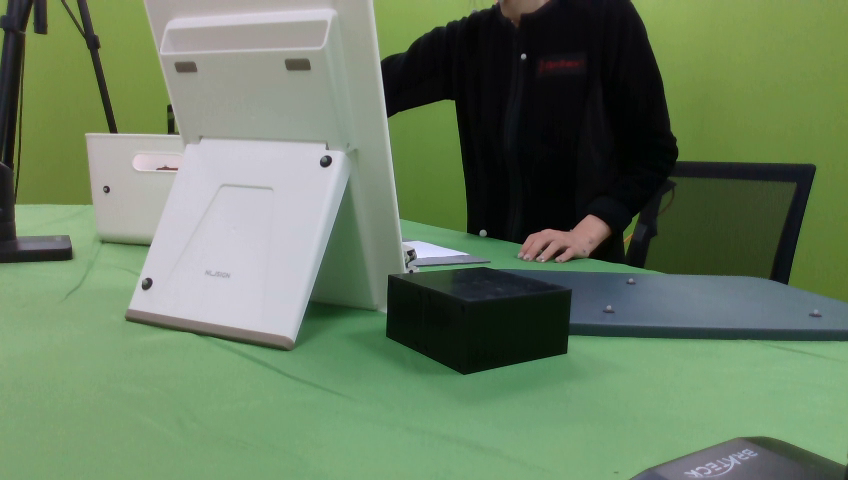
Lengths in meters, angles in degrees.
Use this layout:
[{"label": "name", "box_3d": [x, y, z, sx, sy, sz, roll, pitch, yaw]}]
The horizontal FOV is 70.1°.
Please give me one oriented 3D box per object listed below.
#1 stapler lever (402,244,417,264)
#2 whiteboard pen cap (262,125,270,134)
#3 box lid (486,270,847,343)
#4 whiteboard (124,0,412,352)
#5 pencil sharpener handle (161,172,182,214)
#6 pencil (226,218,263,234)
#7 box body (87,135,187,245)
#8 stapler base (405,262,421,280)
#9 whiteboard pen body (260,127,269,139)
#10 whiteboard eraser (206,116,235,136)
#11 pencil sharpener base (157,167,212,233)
[{"label": "stapler lever", "box_3d": [-0.066, 0.003, 0.755, 0.117, 0.040, 0.027, 9, 13, 23]}, {"label": "whiteboard pen cap", "box_3d": [-0.349, -0.244, 1.337, 0.018, 0.018, 0.033, 0, 2, -17]}, {"label": "box lid", "box_3d": [0.266, 0.066, 0.643, 0.372, 0.015, 0.263, 2, 7, -5]}, {"label": "whiteboard", "box_3d": [-0.151, -0.049, 0.472, 0.216, 0.305, 0.144, 6, 27, 24]}, {"label": "pencil sharpener handle", "box_3d": [-0.410, -0.075, 0.973, 0.036, 0.067, 0.031, -13, 5, 11]}, {"label": "pencil", "box_3d": [-0.323, -0.025, 1.091, 0.012, 0.012, 0.194, 3, 9, 1]}, {"label": "box body", "box_3d": [-0.338, -0.088, 1.022, 0.254, 0.160, 0.364, 3, 7, 9]}, {"label": "stapler base", "box_3d": [-0.069, 0.027, 0.759, 0.130, 0.024, 0.041, 9, 13, 23]}, {"label": "whiteboard pen body", "box_3d": [-0.366, -0.247, 1.392, 0.017, 0.017, 0.140, 0, 3, -17]}, {"label": "whiteboard eraser", "box_3d": [-0.450, -0.252, 1.335, 0.056, 0.042, 0.112, 1, 7, -22]}, {"label": "pencil sharpener base", "box_3d": [-0.406, -0.069, 1.025, 0.061, 0.107, 0.077, 2, 8, 9]}]
